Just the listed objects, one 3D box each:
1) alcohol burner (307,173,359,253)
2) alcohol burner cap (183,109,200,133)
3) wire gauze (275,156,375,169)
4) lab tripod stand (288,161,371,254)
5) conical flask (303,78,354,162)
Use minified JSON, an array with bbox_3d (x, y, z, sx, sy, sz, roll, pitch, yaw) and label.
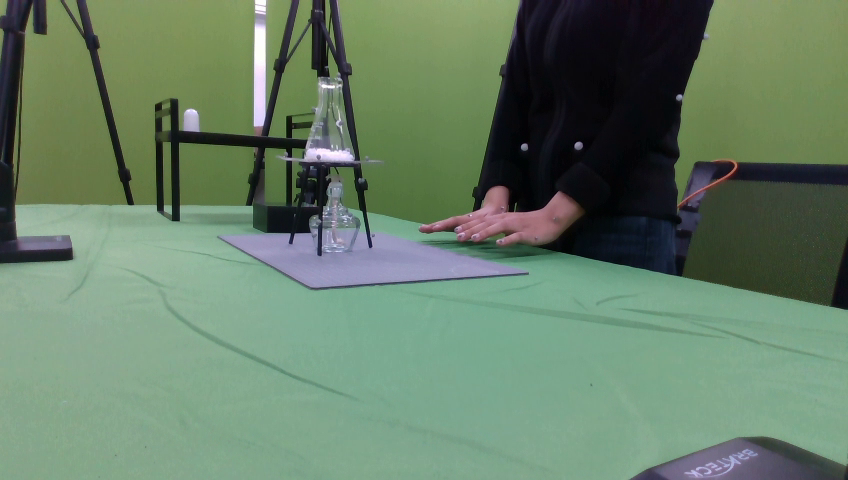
[{"bbox_3d":[-0.135,-0.041,0.901,0.078,0.119,0.078,1,6,0],"label":"alcohol burner"},{"bbox_3d":[-0.472,-0.241,1.229,0.034,0.048,0.034,3,8,0],"label":"alcohol burner cap"},{"bbox_3d":[-0.142,-0.116,0.899,0.122,0.011,0.124,-1,5,-36],"label":"wire gauze"},{"bbox_3d":[-0.148,-0.052,0.908,0.148,0.131,0.148,1,8,0],"label":"lab tripod stand"},{"bbox_3d":[-0.140,-0.175,0.892,0.075,0.122,0.075,2,7,0],"label":"conical flask"}]
